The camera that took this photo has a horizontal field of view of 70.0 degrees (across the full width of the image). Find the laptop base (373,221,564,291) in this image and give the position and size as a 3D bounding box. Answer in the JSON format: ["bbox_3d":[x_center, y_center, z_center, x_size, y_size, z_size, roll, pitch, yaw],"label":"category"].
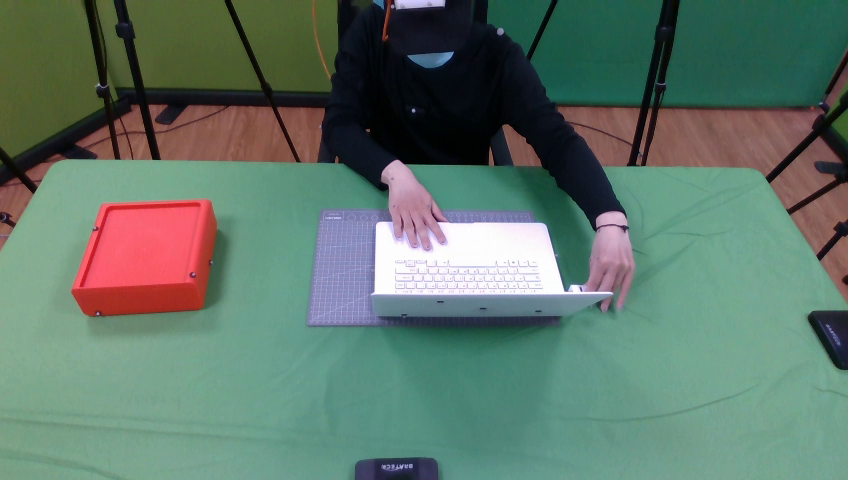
[{"bbox_3d":[0.080,0.050,1.159,0.355,0.023,0.234,0,43,-4],"label":"laptop base"}]

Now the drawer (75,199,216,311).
[{"bbox_3d":[-0.494,0.022,1.097,0.195,0.073,0.210,-2,47,-8],"label":"drawer"}]

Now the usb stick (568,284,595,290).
[{"bbox_3d":[0.283,0.096,1.114,0.059,0.027,0.021,1,47,-5],"label":"usb stick"}]

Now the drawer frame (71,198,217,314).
[{"bbox_3d":[-0.493,0.024,1.095,0.202,0.083,0.212,-3,47,-8],"label":"drawer frame"}]

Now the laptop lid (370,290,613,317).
[{"bbox_3d":[0.092,0.103,0.965,0.357,0.242,0.013,0,75,-5],"label":"laptop lid"}]
